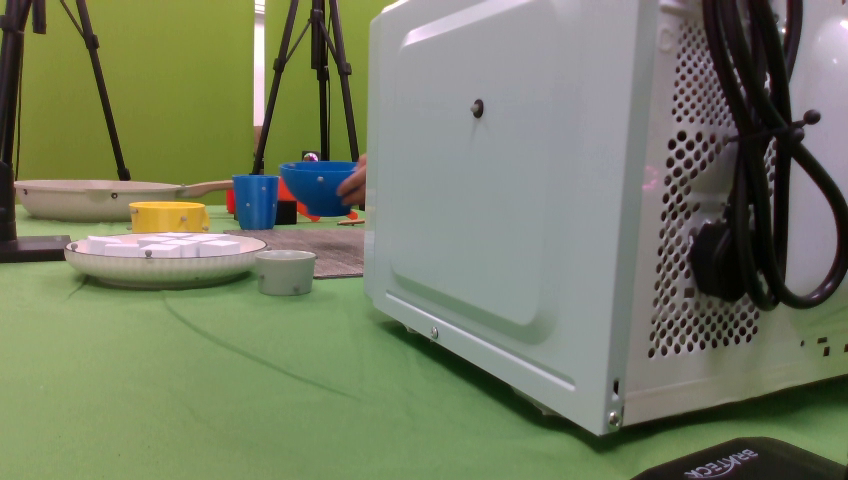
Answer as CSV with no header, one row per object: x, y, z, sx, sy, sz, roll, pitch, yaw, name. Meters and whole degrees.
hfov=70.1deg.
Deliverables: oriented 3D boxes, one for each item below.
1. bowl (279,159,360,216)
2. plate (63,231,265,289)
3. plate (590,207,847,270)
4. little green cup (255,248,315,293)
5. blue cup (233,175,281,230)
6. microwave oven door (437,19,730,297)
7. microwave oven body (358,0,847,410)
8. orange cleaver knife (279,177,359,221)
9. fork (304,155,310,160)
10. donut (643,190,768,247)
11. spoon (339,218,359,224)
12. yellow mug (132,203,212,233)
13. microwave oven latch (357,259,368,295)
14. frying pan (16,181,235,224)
-0.153,-0.084,0.970,0.151,0.077,0.151,1,13,0,bowl
-0.288,0.021,0.687,0.208,0.039,0.207,2,8,0,plate
0.246,-0.003,0.510,0.209,0.038,0.209,3,5,0,plate
-0.144,0.031,0.627,0.061,0.038,0.061,2,7,0,little green cup
-0.314,-0.071,1.141,0.093,0.100,0.092,0,7,0,blue cup
0.181,-0.076,0.618,0.358,0.243,0.039,-2,9,-28,microwave oven door
0.210,-0.051,0.471,0.444,0.260,0.324,-1,7,-28,microwave oven body
-0.236,-0.084,1.333,0.212,0.077,0.012,31,-9,-31,orange cleaver knife
-0.268,-0.134,1.446,0.028,0.018,0.207,1,-36,-1,fork
0.239,-0.017,0.518,0.099,0.048,0.099,4,4,0,donut
-0.087,-0.041,1.268,0.193,0.021,0.041,4,20,13,spoon
-0.356,-0.020,0.878,0.099,0.064,0.131,4,7,22,yellow mug
-0.019,0.031,0.529,0.079,0.029,0.030,-1,7,-27,microwave oven latch
-0.553,-0.097,1.265,0.490,0.102,0.305,-10,13,-24,frying pan
